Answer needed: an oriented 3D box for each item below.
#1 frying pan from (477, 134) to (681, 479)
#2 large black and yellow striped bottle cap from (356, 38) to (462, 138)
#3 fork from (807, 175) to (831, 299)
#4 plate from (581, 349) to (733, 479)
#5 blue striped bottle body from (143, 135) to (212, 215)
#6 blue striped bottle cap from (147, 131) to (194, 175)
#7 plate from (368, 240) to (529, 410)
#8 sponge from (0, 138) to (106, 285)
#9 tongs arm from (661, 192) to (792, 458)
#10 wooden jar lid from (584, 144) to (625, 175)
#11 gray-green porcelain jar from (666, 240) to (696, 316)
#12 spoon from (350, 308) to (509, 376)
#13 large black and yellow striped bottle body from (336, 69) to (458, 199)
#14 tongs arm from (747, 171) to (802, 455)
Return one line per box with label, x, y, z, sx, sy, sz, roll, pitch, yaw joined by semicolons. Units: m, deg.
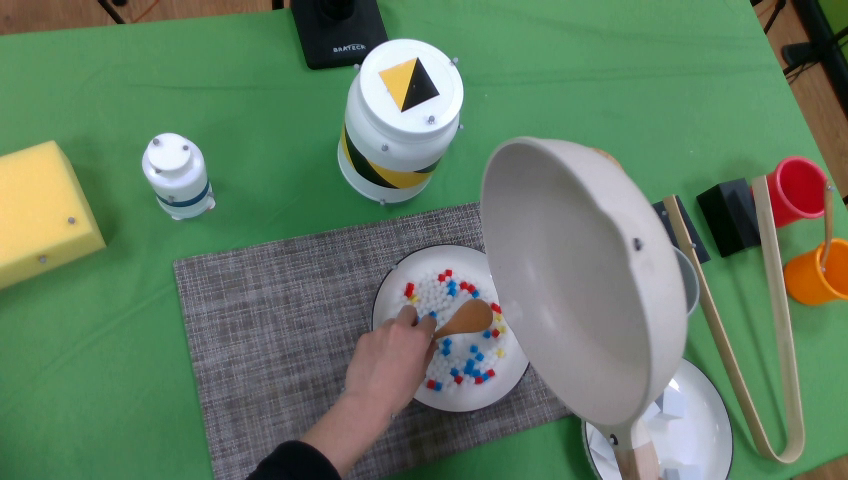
frying pan;0.170;0.128;0.574;0.103;0.308;0.485;-11;76;-12
large black and yellow striped bottle cap;-0.015;-0.165;0.653;0.115;0.019;0.114;4;71;-12
fork;0.562;0.000;0.857;0.028;0.018;0.209;-26;125;-12
plate;0.293;0.237;0.777;0.208;0.039;0.206;4;72;-12
blue striped bottle body;-0.278;-0.077;0.685;0.063;0.121;0.062;4;72;-13
blue striped bottle cap;-0.267;-0.092;0.637;0.045;0.021;0.044;4;70;-10
plate;0.033;0.103;0.748;0.210;0.038;0.208;4;73;-12
sponge;-0.474;-0.013;0.648;0.207;0.061;0.118;-26;81;-21
tongs arm;0.404;0.113;0.813;0.051;0.026;0.384;-18;88;-20
wooden jar lid;0.239;-0.086;0.872;0.109;0.021;0.108;4;74;-13
gray-green porcelain jar;0.263;0.064;0.775;0.106;0.127;0.105;4;72;-12
spoon;0.011;0.119;0.676;0.194;0.021;0.042;-16;97;-14
large black and yellow striped bottle body;-0.034;-0.140;0.733;0.131;0.184;0.130;4;72;-12
tongs arm;0.483;0.096;0.839;0.028;0.027;0.386;-2;84;-22
